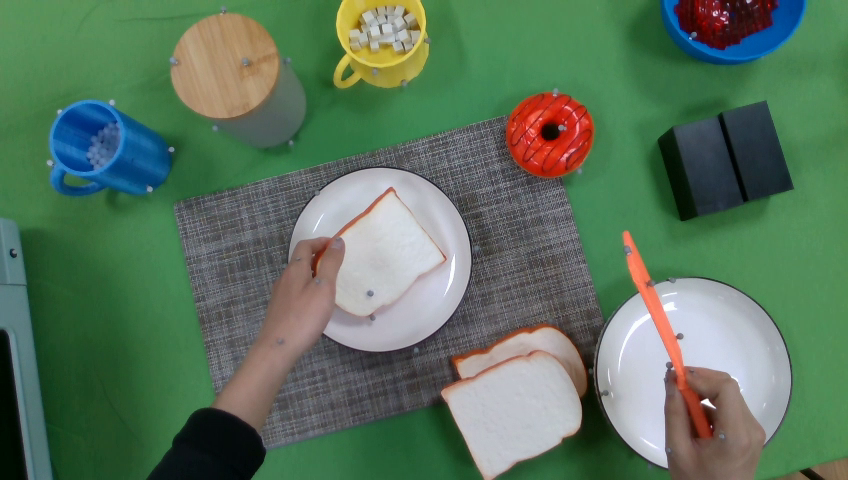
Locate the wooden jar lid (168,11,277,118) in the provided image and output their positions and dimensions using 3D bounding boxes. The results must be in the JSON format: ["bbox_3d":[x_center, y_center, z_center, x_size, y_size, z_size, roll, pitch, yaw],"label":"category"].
[{"bbox_3d":[-0.198,-0.172,0.603,0.108,0.021,0.108,0,83,4],"label":"wooden jar lid"}]

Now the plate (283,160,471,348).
[{"bbox_3d":[-0.051,0.016,0.683,0.207,0.039,0.207,0,85,3],"label":"plate"}]

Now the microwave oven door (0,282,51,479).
[{"bbox_3d":[-0.449,0.213,0.567,0.039,0.244,0.355,-12,84,2],"label":"microwave oven door"}]

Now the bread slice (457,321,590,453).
[{"bbox_3d":[0.114,0.145,0.635,0.134,0.018,0.106,-20,80,-27],"label":"bread slice"}]

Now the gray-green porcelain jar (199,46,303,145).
[{"bbox_3d":[-0.195,-0.166,0.665,0.106,0.127,0.105,0,84,3],"label":"gray-green porcelain jar"}]

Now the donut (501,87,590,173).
[{"bbox_3d":[0.137,-0.124,0.683,0.099,0.048,0.099,0,86,2],"label":"donut"}]

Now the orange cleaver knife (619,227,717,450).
[{"bbox_3d":[0.217,0.088,0.542,0.012,0.077,0.212,-22,102,23],"label":"orange cleaver knife"}]

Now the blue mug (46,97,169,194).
[{"bbox_3d":[-0.361,-0.092,0.676,0.116,0.106,0.082,-40,84,-1],"label":"blue mug"}]

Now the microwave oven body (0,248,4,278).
[{"bbox_3d":[-0.600,0.201,0.580,0.326,0.260,0.440,-12,85,1],"label":"microwave oven body"}]

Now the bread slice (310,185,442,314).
[{"bbox_3d":[-0.055,0.021,0.664,0.131,0.019,0.106,-40,113,-4],"label":"bread slice"}]

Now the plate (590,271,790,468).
[{"bbox_3d":[0.284,0.138,0.661,0.209,0.038,0.208,0,85,3],"label":"plate"}]

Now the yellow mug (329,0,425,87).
[{"bbox_3d":[-0.061,-0.226,0.694,0.100,0.064,0.131,44,89,5],"label":"yellow mug"}]

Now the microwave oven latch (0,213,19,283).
[{"bbox_3d":[-0.485,0.009,0.688,0.030,0.029,0.079,-10,85,1],"label":"microwave oven latch"}]

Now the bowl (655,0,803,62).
[{"bbox_3d":[0.324,-0.261,0.673,0.151,0.077,0.151,0,85,3],"label":"bowl"}]
